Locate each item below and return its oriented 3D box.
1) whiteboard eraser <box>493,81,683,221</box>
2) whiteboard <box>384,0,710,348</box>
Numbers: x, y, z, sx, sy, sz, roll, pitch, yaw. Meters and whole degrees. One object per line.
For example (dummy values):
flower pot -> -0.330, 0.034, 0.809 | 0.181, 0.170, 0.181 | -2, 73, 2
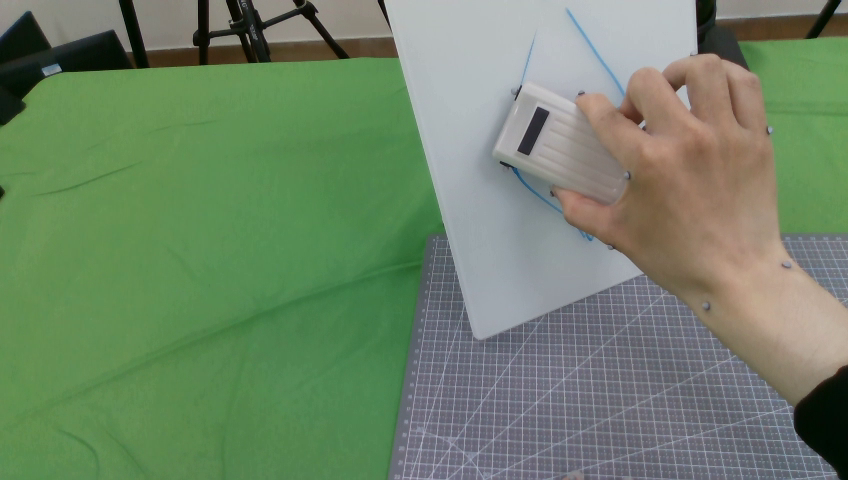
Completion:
whiteboard eraser -> 0.107, -0.059, 0.402 | 0.112, 0.056, 0.041 | 24, 19, 3
whiteboard -> 0.086, -0.109, 0.486 | 0.217, 0.308, 0.142 | -21, 27, -9
